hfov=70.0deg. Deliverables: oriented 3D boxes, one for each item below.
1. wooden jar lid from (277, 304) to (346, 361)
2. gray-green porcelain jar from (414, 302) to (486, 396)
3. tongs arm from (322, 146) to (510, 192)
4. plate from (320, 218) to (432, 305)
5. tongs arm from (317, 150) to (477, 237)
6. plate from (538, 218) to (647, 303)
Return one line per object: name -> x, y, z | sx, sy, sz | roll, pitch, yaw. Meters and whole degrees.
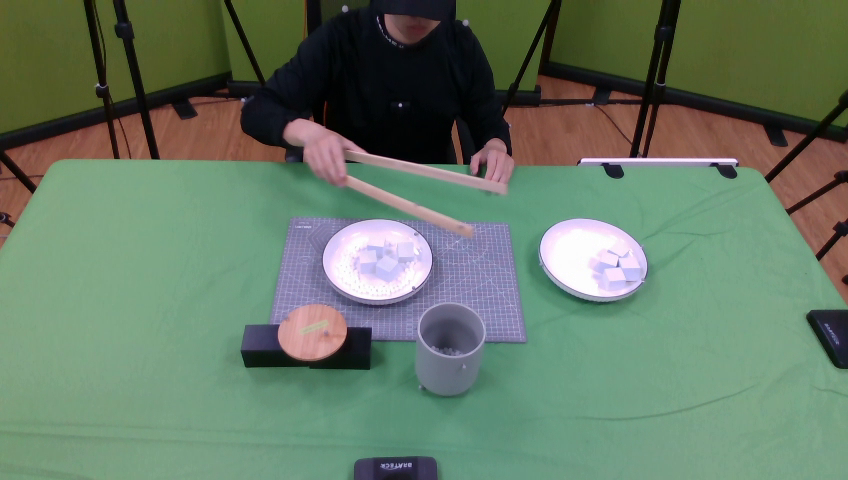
wooden jar lid -> -0.179, 0.150, 0.972 | 0.108, 0.021, 0.107 | 2, 45, -2
gray-green porcelain jar -> 0.038, 0.177, 0.958 | 0.106, 0.127, 0.105 | 2, 46, -2
tongs arm -> -0.020, -0.138, 1.178 | 0.387, 0.028, 0.028 | 13, 50, 17
plate -> -0.089, 0.044, 1.134 | 0.209, 0.038, 0.208 | 2, 46, -2
tongs arm -> -0.059, -0.092, 1.128 | 0.383, 0.027, 0.050 | 22, 50, 25
plate -> 0.322, 0.042, 1.171 | 0.208, 0.039, 0.206 | 2, 46, -2
